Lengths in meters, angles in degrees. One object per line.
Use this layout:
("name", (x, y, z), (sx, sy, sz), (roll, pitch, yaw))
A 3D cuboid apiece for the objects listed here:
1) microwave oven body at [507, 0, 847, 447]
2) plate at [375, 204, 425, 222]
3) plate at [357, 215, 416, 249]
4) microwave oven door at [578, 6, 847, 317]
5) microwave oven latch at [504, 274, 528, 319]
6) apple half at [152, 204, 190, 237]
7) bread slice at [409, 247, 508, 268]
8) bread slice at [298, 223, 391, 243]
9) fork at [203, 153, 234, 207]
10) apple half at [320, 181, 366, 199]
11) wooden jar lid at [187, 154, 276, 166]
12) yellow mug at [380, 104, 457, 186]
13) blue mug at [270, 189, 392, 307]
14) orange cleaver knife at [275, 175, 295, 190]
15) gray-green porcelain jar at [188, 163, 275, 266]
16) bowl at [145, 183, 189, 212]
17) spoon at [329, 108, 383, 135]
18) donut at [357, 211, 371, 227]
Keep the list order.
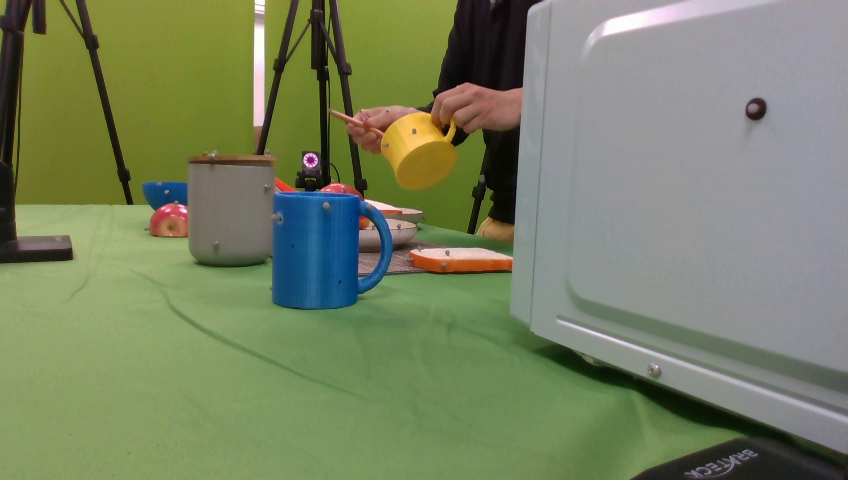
("microwave oven body", (0.331, -0.042, 0.425), (0.444, 0.260, 0.324), (-2, 8, -31))
("plate", (-0.102, -0.053, 1.299), (0.209, 0.038, 0.209), (2, 8, 0))
("plate", (-0.116, -0.014, 0.967), (0.208, 0.039, 0.207), (2, 7, 0))
("microwave oven door", (0.294, -0.067, 0.570), (0.358, 0.243, 0.039), (-3, 9, -31))
("microwave oven latch", (0.100, 0.041, 0.470), (0.079, 0.029, 0.030), (-1, 7, -27))
("apple half", (-0.415, -0.034, 1.017), (0.081, 0.053, 0.074), (1, 10, -8))
("bread slice", (0.048, 0.022, 0.816), (0.132, 0.019, 0.104), (1, 6, -24))
("bread slice", (-0.121, -0.013, 0.971), (0.106, 0.018, 0.135), (9, 11, 41))
("fork", (-0.480, -0.134, 1.411), (0.028, 0.018, 0.207), (1, -35, 0))
("apple half", (-0.129, -0.077, 0.952), (0.081, 0.033, 0.081), (3, 14, 0))
("wooden jar lid", (-0.244, -0.097, 0.771), (0.108, 0.020, 0.108), (-1, 7, 0))
("yellow mug", (0.001, -0.149, 0.905), (0.100, 0.130, 0.064), (11, 43, -48))
("blue mug", (-0.090, 0.005, 0.588), (0.117, 0.106, 0.082), (1, 7, -11))
("orange cleaver knife", (-0.283, -0.087, 1.343), (0.212, 0.077, 0.012), (24, -16, -41))
("gray-green porcelain jar", (-0.246, -0.034, 0.780), (0.106, 0.126, 0.106), (2, 7, 0))
("bowl", (-0.459, -0.068, 1.175), (0.151, 0.077, 0.151), (2, 7, 0))
("spoon", (-0.065, -0.164, 0.943), (0.193, 0.021, 0.042), (31, 16, 9))
("donut", (-0.132, -0.041, 0.959), (0.099, 0.048, 0.099), (3, 8, 0))
